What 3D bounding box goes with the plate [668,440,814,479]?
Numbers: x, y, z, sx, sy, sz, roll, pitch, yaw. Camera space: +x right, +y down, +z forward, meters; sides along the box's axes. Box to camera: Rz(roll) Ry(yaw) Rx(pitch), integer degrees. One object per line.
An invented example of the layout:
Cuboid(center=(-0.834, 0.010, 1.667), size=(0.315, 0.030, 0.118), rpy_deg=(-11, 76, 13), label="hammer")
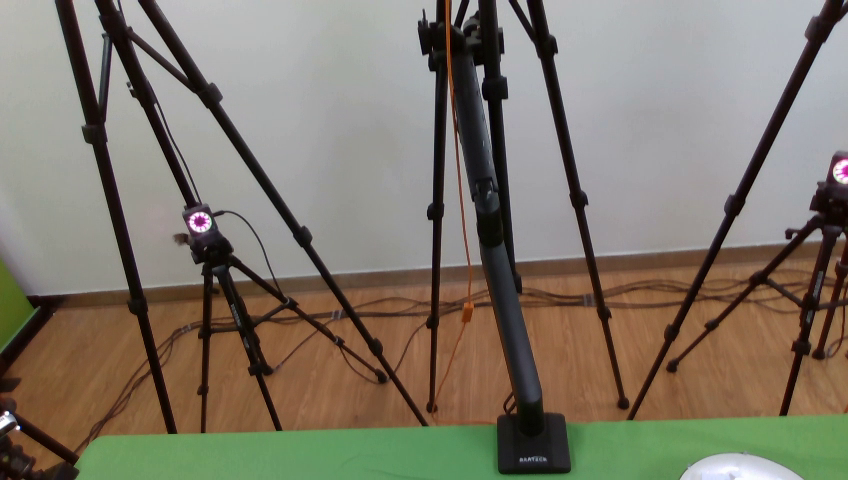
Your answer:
Cuboid(center=(0.442, 0.371, 0.828), size=(0.207, 0.039, 0.205), rpy_deg=(-5, 36, 4), label="plate")
